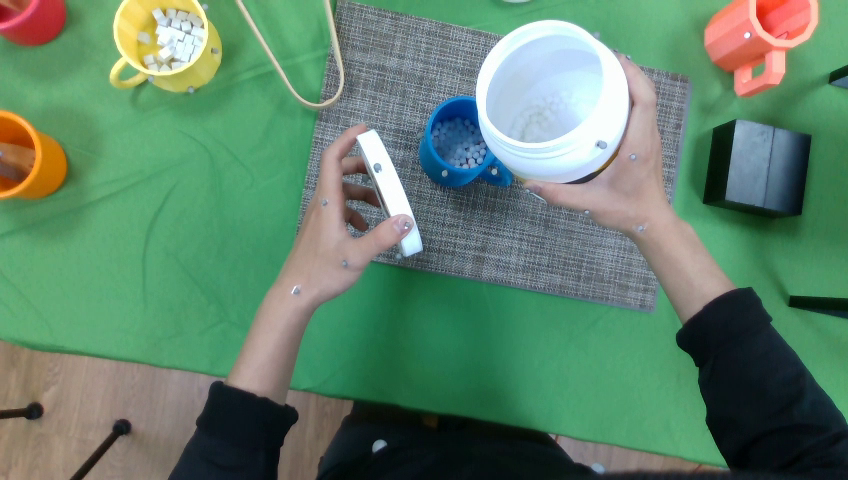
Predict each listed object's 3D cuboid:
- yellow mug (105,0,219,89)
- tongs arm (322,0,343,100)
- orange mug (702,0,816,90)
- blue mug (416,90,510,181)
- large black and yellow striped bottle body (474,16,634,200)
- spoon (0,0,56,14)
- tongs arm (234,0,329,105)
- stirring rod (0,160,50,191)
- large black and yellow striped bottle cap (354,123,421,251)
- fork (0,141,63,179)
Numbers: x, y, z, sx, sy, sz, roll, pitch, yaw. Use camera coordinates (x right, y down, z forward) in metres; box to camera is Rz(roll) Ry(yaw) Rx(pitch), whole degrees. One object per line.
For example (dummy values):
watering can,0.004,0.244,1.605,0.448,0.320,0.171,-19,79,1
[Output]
yellow mug,-0.301,-0.217,0.678,0.131,0.064,0.100,-41,93,-4
tongs arm,-0.143,-0.357,0.695,0.028,0.027,0.388,-15,97,-14
orange mug,0.402,-0.250,0.733,0.083,0.101,0.126,1,84,-5
blue mug,0.048,-0.105,0.687,0.117,0.106,0.082,36,85,-3
large black and yellow striped bottle body,0.125,-0.117,0.571,0.130,0.185,0.130,-3,81,21
spoon,-0.487,-0.260,0.622,0.194,0.021,0.041,-15,88,-50
tongs arm,-0.220,-0.324,0.683,0.051,0.026,0.386,-29,99,-9
stirring rod,-0.475,-0.092,0.619,0.006,0.178,0.014,0,69,37
large black and yellow striped bottle cap,-0.033,-0.045,0.532,0.019,0.115,0.115,-23,90,-7
fork,-0.480,-0.111,0.615,0.209,0.018,0.028,28,83,-48
